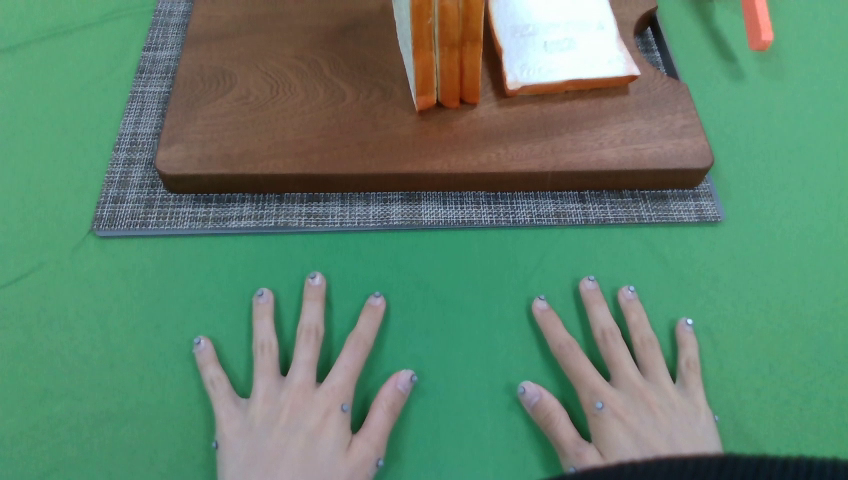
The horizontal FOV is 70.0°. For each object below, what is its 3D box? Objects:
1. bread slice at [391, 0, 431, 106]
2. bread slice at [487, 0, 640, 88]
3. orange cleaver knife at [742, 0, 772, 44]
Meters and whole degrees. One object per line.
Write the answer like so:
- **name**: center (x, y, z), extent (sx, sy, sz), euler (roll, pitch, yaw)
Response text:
- **bread slice**: center (-0.012, -0.180, 0.445), extent (0.018, 0.108, 0.133), euler (-6, 51, -5)
- **bread slice**: center (0.104, -0.178, 0.490), extent (0.105, 0.019, 0.130), euler (-7, 63, -5)
- **orange cleaver knife**: center (0.283, -0.266, 0.553), extent (0.012, 0.077, 0.210), euler (1, 78, -5)
